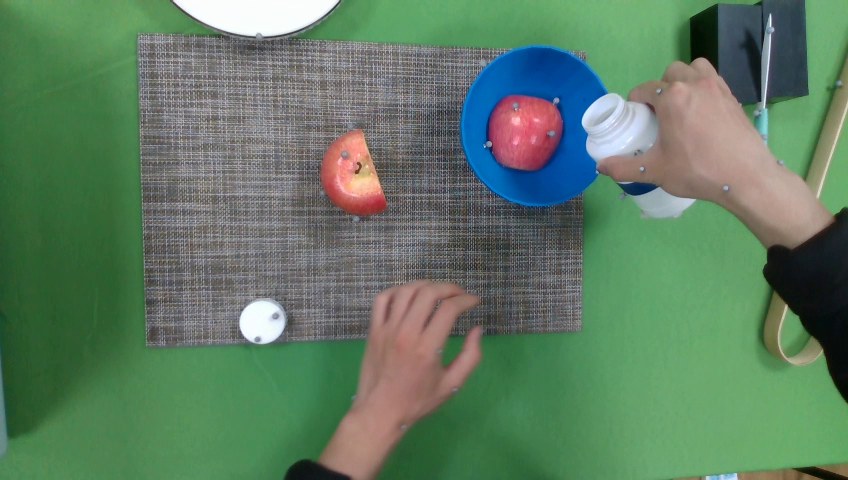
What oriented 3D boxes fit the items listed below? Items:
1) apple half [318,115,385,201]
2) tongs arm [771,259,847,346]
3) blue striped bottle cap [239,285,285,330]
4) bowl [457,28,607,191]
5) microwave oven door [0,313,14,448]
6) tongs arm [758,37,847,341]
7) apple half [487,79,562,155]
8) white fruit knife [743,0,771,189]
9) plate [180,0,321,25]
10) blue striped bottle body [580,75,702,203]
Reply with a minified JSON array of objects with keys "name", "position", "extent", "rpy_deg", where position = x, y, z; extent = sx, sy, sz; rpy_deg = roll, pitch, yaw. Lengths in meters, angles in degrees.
[{"name":"apple half","position":[-0.074,-0.073,0.578],"extent":[0.053,0.074,0.081],"rpy_deg":[-20,101,-3]},{"name":"tongs arm","position":[0.522,-0.041,0.701],"extent":[0.051,0.026,0.384],"rpy_deg":[29,91,-9]},{"name":"blue striped bottle cap","position":[-0.162,0.067,0.605],"extent":[0.045,0.020,0.044],"rpy_deg":[-1,94,-12]},{"name":"bowl","position":[0.100,-0.123,0.599],"extent":[0.152,0.076,0.151],"rpy_deg":[-1,95,-9]},{"name":"microwave oven door","position":[-0.391,0.021,0.436],"extent":[0.039,0.243,0.356],"rpy_deg":[-3,95,-9]},{"name":"tongs arm","position":[0.447,-0.074,0.690],"extent":[0.028,0.027,0.387],"rpy_deg":[15,93,-12]},{"name":"apple half","position":[0.102,-0.122,0.595],"extent":[0.081,0.032,0.081],"rpy_deg":[-1,94,-8]},{"name":"white fruit knife","position":[0.352,-0.149,0.637],"extent":[0.016,0.027,0.209],"rpy_deg":[-4,113,9]},{"name":"plate","position":[-0.167,-0.304,0.564],"extent":[0.208,0.039,0.208],"rpy_deg":[-1,95,-10]},{"name":"blue striped bottle body","position":[0.189,-0.091,0.540],"extent":[0.122,0.062,0.063],"rpy_deg":[38,88,-27]}]
